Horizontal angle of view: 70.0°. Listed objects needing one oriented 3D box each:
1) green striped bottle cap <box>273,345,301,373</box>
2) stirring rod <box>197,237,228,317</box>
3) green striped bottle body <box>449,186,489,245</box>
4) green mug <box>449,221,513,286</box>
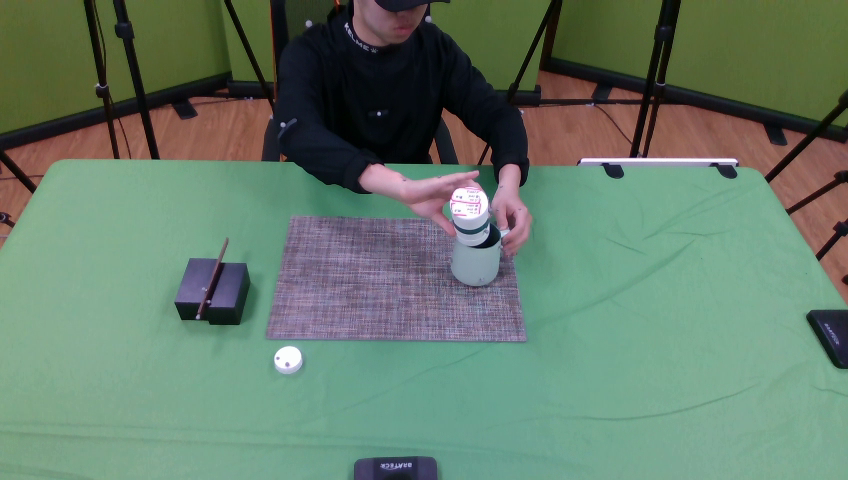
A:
[{"bbox_3d":[-0.225,0.195,0.997,0.044,0.020,0.044,2,50,-2],"label":"green striped bottle cap"},{"bbox_3d":[-0.363,0.060,1.047,0.006,0.014,0.175,7,46,-3],"label":"stirring rod"},{"bbox_3d":[0.078,-0.035,1.024,0.063,0.120,0.063,-3,62,6],"label":"green striped bottle body"},{"bbox_3d":[0.110,0.018,1.126,0.125,0.105,0.092,-19,50,-21],"label":"green mug"}]
